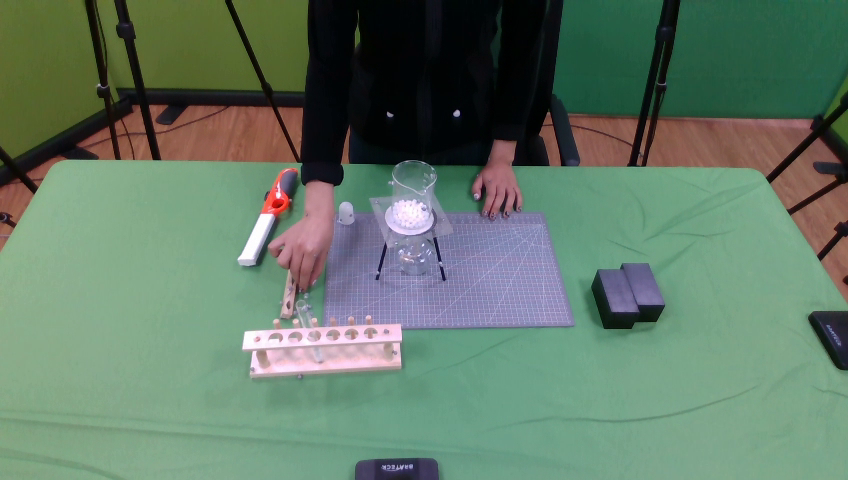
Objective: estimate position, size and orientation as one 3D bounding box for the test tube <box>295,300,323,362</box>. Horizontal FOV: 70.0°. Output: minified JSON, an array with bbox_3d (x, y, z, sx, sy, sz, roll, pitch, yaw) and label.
[{"bbox_3d":[-0.176,0.143,0.935,0.017,0.151,0.017,-2,46,2],"label":"test tube"}]

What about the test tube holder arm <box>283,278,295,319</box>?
[{"bbox_3d":[-0.241,0.103,1.085,0.010,0.015,0.087,25,38,-26],"label":"test tube holder arm"}]

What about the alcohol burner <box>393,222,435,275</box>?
[{"bbox_3d":[-0.018,0.009,1.122,0.078,0.119,0.077,3,47,-3],"label":"alcohol burner"}]

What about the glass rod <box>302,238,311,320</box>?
[{"bbox_3d":[-0.217,0.068,1.124,0.008,0.008,0.198,-1,45,-5],"label":"glass rod"}]

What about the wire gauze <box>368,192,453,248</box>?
[{"bbox_3d":[-0.025,-0.041,1.065,0.122,0.011,0.124,-10,46,-18],"label":"wire gauze"}]

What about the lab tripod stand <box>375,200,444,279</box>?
[{"bbox_3d":[-0.023,0.004,1.114,0.148,0.132,0.147,4,45,-3],"label":"lab tripod stand"}]

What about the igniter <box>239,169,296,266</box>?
[{"bbox_3d":[-0.312,-0.054,1.224,0.057,0.025,0.275,1,45,10],"label":"igniter"}]

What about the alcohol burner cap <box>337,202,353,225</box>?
[{"bbox_3d":[-0.161,-0.056,1.223,0.034,0.048,0.033,2,46,-2],"label":"alcohol burner cap"}]

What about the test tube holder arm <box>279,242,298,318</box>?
[{"bbox_3d":[-0.248,0.069,1.114,0.013,0.015,0.177,25,38,-26],"label":"test tube holder arm"}]

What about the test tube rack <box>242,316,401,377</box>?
[{"bbox_3d":[-0.161,0.166,0.983,0.242,0.085,0.066,-2,46,-6],"label":"test tube rack"}]

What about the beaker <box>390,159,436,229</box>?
[{"bbox_3d":[-0.020,-0.073,1.029,0.074,0.101,0.083,-10,48,-16],"label":"beaker"}]
